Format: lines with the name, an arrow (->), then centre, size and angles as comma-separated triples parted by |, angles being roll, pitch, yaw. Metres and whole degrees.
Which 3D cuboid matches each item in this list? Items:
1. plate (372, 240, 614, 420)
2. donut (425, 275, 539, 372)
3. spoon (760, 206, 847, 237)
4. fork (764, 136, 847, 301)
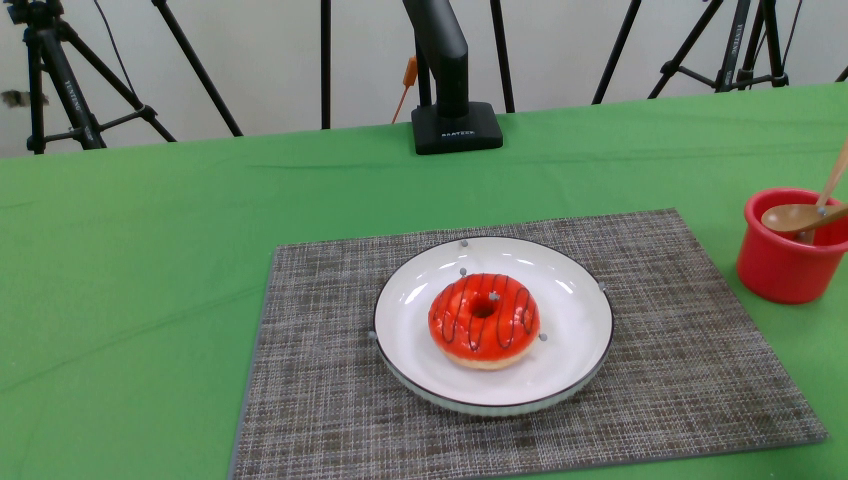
plate -> 0.060, 0.076, 0.538 | 0.209, 0.038, 0.207 | -2, 38, 2
donut -> 0.051, 0.072, 0.527 | 0.099, 0.049, 0.098 | -3, 41, 3
spoon -> 0.359, -0.025, 0.481 | 0.041, 0.022, 0.193 | -40, 8, -21
fork -> 0.376, -0.036, 0.570 | 0.028, 0.019, 0.207 | 27, 90, 33
